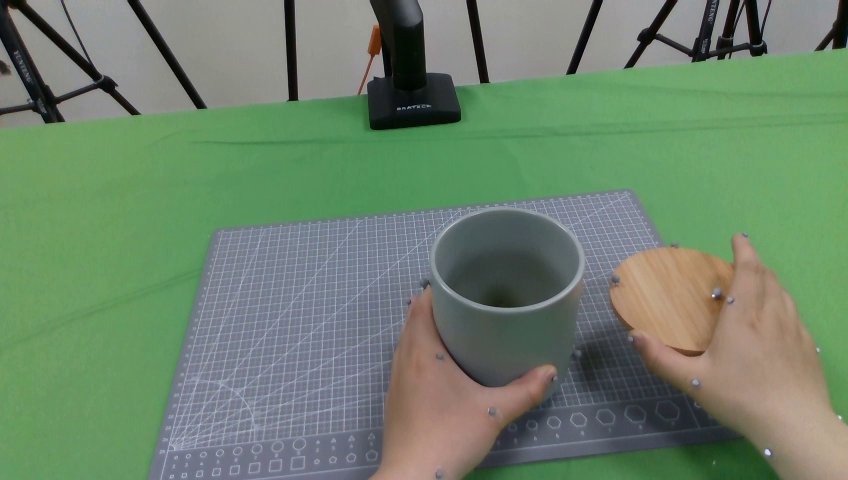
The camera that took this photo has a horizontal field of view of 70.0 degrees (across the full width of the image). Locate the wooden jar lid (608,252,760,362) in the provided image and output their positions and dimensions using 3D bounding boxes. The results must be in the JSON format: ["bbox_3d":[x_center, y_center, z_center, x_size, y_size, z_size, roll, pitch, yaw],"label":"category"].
[{"bbox_3d":[0.196,0.052,0.464,0.108,0.021,0.107,-4,40,4],"label":"wooden jar lid"}]

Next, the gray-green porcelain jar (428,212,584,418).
[{"bbox_3d":[0.058,0.060,0.448,0.106,0.127,0.105,-2,41,2],"label":"gray-green porcelain jar"}]
